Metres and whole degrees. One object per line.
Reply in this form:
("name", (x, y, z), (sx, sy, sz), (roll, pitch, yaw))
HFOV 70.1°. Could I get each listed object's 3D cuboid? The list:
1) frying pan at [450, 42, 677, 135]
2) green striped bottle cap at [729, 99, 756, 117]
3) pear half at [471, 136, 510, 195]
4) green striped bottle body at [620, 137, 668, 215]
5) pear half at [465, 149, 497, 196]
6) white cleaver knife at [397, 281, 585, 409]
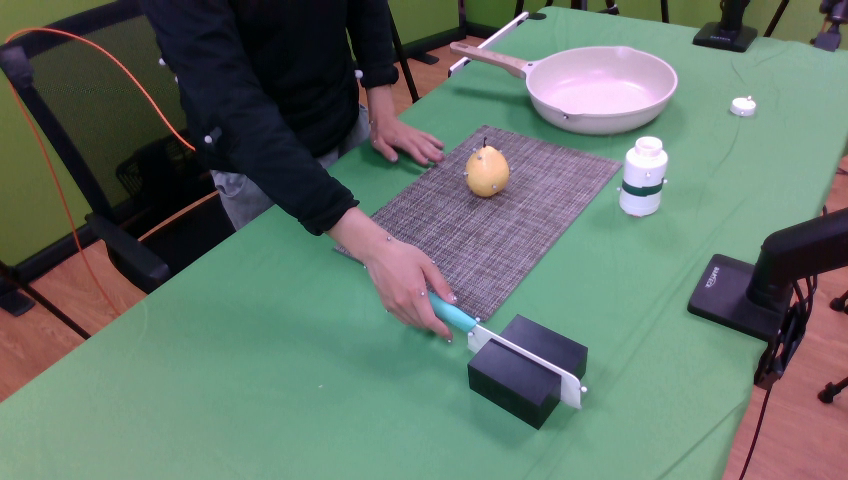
("frying pan", (0.268, -0.344, 1.266), (0.485, 0.103, 0.307), (26, 49, 21))
("green striped bottle cap", (0.623, -0.259, 1.182), (0.044, 0.020, 0.044), (-3, 40, 3))
("pear half", (0.115, -0.136, 1.036), (0.076, 0.110, 0.056), (31, 53, 30))
("green striped bottle body", (0.350, -0.103, 0.963), (0.063, 0.120, 0.063), (-4, 41, 4))
("pear half", (0.091, -0.110, 1.025), (0.070, 0.088, 0.031), (30, 52, 30))
("white cleaver knife", (0.074, 0.131, 0.770), (0.284, 0.066, 0.021), (27, 45, 31))
